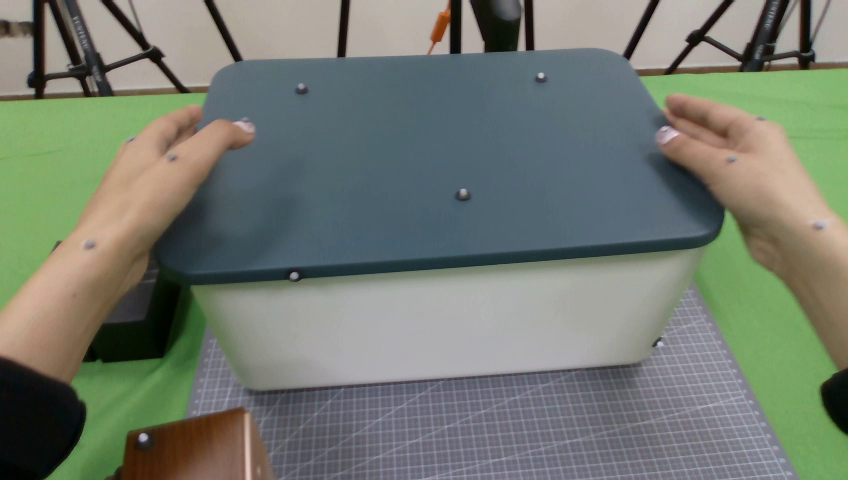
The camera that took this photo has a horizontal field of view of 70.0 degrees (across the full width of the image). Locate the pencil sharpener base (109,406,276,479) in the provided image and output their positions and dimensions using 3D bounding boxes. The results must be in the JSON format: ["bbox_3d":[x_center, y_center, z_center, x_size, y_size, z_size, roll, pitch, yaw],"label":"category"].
[{"bbox_3d":[-0.135,0.160,0.369,0.077,0.108,0.060,-10,44,-9],"label":"pencil sharpener base"}]

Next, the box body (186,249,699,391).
[{"bbox_3d":[0.009,-0.020,0.525,0.364,0.162,0.251,-3,43,-4],"label":"box body"}]

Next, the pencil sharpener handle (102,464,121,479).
[{"bbox_3d":[-0.185,0.159,0.353,0.031,0.068,0.035,-10,47,-9],"label":"pencil sharpener handle"}]

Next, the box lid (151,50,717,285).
[{"bbox_3d":[0.002,-0.074,0.466,0.372,0.015,0.260,-3,44,-3],"label":"box lid"}]
